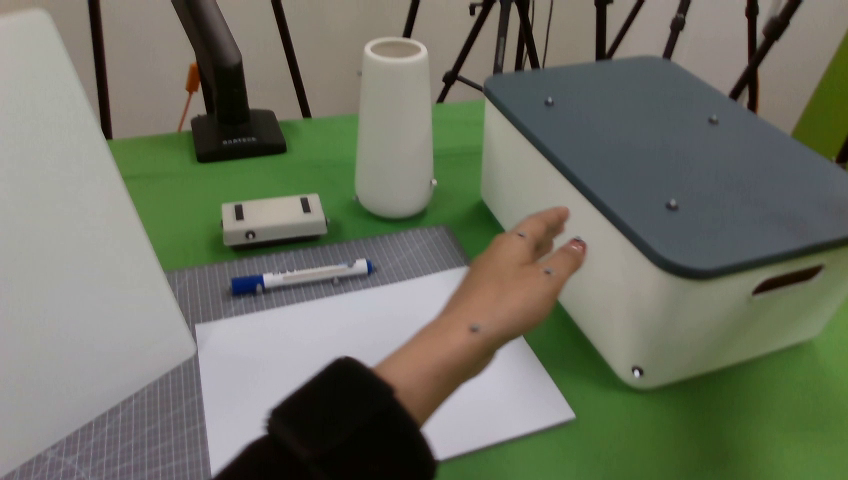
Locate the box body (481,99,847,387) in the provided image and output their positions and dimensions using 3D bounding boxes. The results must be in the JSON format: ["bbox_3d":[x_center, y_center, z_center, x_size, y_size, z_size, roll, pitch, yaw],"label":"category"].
[{"bbox_3d":[0.241,-0.037,0.659,0.255,0.162,0.359,-11,40,-18],"label":"box body"}]

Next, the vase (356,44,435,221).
[{"bbox_3d":[-0.031,-0.121,0.713,0.098,0.201,0.097,3,37,-2],"label":"vase"}]

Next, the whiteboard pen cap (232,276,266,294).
[{"bbox_3d":[-0.180,0.046,0.625,0.033,0.018,0.018,-6,38,-17],"label":"whiteboard pen cap"}]

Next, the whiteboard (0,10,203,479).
[{"bbox_3d":[-0.352,0.008,0.472,0.142,0.308,0.217,12,34,42],"label":"whiteboard"}]

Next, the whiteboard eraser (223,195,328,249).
[{"bbox_3d":[-0.171,-0.019,0.695,0.113,0.042,0.055,-9,37,-15],"label":"whiteboard eraser"}]

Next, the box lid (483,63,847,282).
[{"bbox_3d":[0.244,-0.095,0.610,0.264,0.015,0.367,-11,40,-18],"label":"box lid"}]

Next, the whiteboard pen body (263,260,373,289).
[{"bbox_3d":[-0.123,0.038,0.641,0.141,0.017,0.017,-8,39,-15],"label":"whiteboard pen body"}]
